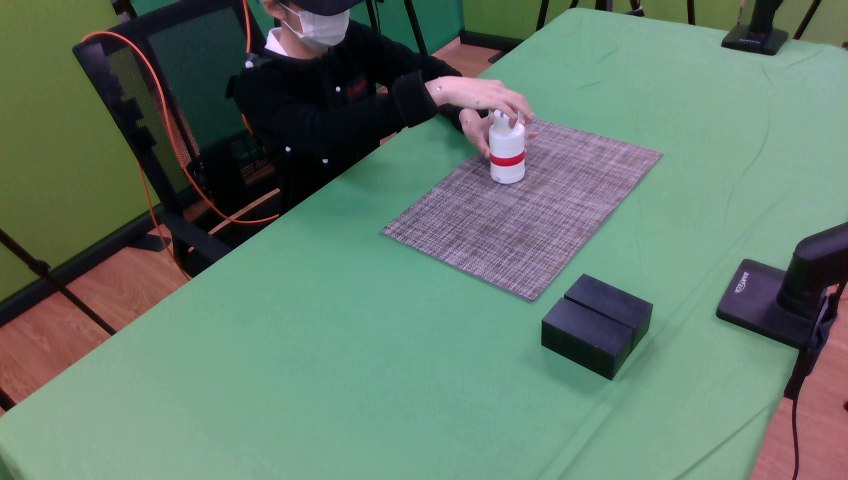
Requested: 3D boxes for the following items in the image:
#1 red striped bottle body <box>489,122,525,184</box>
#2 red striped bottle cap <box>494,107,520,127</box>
[{"bbox_3d":[0.147,-0.164,1.064,0.063,0.120,0.062,-5,40,4],"label":"red striped bottle body"},{"bbox_3d":[0.140,-0.209,1.026,0.044,0.018,0.044,-3,40,3],"label":"red striped bottle cap"}]
